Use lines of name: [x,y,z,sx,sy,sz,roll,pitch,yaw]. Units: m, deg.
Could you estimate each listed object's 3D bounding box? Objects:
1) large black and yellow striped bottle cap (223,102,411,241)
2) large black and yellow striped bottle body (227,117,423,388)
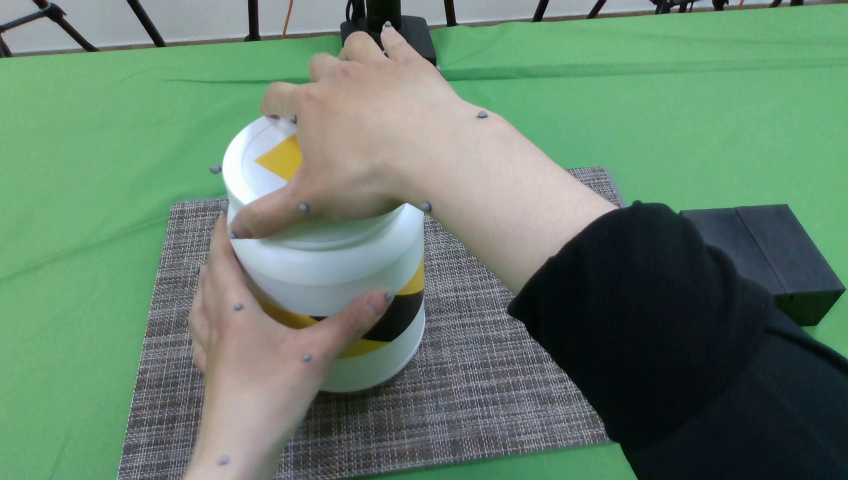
large black and yellow striped bottle cap: [-0.066,-0.047,0.379,0.115,0.019,0.114,0,48,1]
large black and yellow striped bottle body: [-0.066,0.009,0.442,0.131,0.185,0.129,0,48,0]
